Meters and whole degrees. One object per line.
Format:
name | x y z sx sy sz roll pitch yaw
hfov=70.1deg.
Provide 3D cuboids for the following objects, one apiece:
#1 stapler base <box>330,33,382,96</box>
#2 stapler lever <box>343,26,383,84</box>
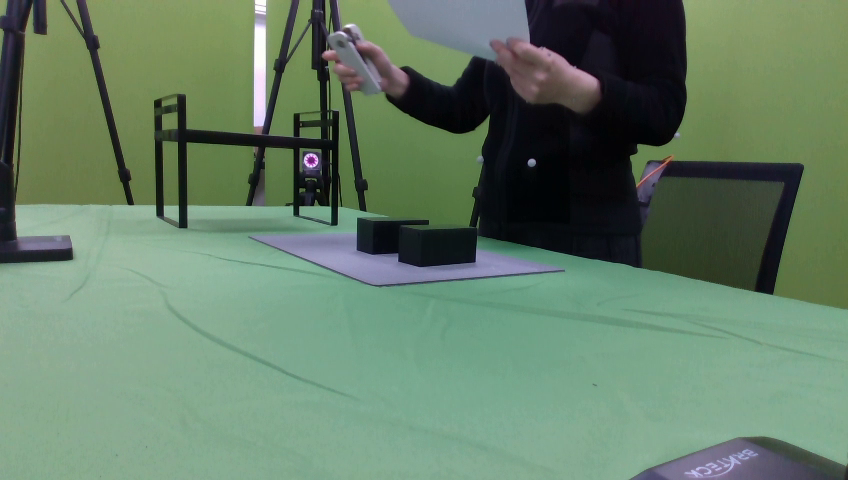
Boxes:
stapler base | -0.122 -0.331 1.126 0.041 0.131 0.024 -5 44 37
stapler lever | -0.113 -0.348 1.142 0.026 0.118 0.040 -5 44 37
